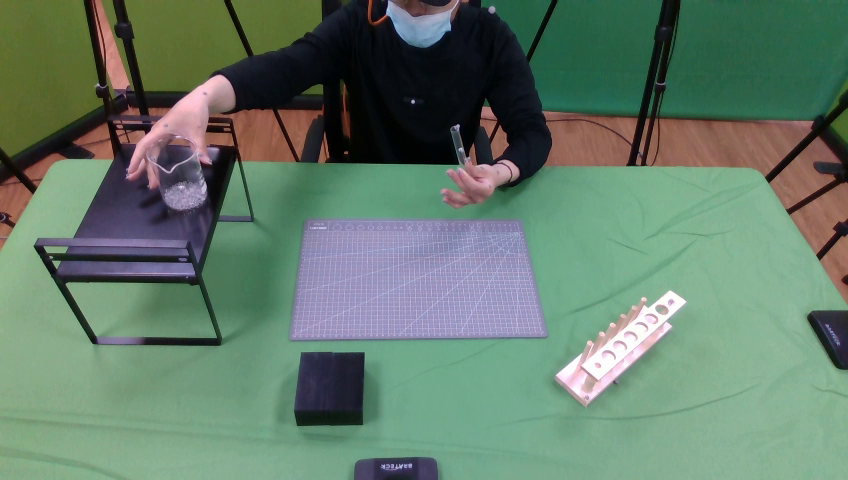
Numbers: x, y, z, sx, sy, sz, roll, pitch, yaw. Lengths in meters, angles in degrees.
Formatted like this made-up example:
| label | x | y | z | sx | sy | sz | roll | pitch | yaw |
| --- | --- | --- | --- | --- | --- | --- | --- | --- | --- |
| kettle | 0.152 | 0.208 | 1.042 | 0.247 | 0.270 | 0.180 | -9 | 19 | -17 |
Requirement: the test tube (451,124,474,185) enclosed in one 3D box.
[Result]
| label | x | y | z | sx | sy | sz | roll | pitch | yaw |
| --- | --- | --- | --- | --- | --- | --- | --- | --- | --- |
| test tube | 0.070 | -0.151 | 1.090 | 0.017 | 0.151 | 0.017 | -8 | 52 | 11 |

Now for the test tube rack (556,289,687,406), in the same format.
| label | x | y | z | sx | sy | sz | roll | pitch | yaw |
| --- | --- | --- | --- | --- | --- | --- | --- | --- | --- |
| test tube rack | 0.332 | 0.165 | 1.014 | 0.242 | 0.085 | 0.066 | -30 | 55 | -28 |

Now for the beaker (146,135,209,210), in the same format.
| label | x | y | z | sx | sy | sz | roll | pitch | yaw |
| --- | --- | --- | --- | --- | --- | --- | --- | --- | --- |
| beaker | -0.387 | -0.102 | 0.961 | 0.074 | 0.101 | 0.083 | -5 | 48 | -8 |
